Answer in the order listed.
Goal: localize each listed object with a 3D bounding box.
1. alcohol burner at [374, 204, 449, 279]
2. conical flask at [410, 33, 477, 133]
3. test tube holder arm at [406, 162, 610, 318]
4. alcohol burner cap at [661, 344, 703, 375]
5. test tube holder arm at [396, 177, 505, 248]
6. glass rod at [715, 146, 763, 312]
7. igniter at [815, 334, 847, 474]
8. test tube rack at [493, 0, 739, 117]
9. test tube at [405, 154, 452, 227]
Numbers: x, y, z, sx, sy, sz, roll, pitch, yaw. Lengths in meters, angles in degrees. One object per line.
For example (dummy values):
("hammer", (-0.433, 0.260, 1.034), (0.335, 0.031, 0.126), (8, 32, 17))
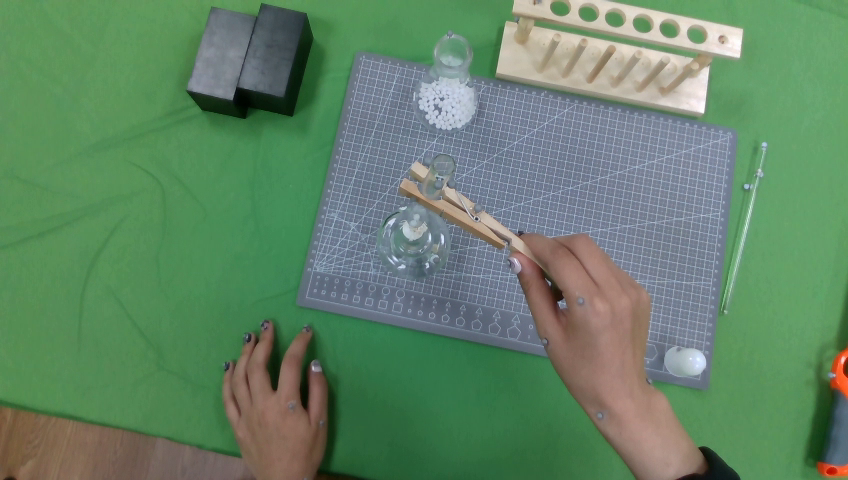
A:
("alcohol burner", (-0.013, -0.002, 0.608), (0.078, 0.119, 0.077), (0, 78, 0))
("conical flask", (0.024, -0.167, 0.634), (0.075, 0.122, 0.075), (0, 79, -2))
("test tube holder arm", (0.061, 0.001, 0.439), (0.178, 0.015, 0.013), (35, 80, 0))
("alcohol burner cap", (0.273, 0.124, 0.634), (0.034, 0.048, 0.033), (0, 79, -2))
("test tube holder arm", (0.020, -0.019, 0.438), (0.088, 0.015, 0.010), (28, 79, -1))
("glass rod", (0.355, -0.014, 0.682), (0.008, 0.008, 0.199), (18, 82, 1))
("igniter", (0.469, 0.118, 0.654), (0.057, 0.025, 0.275), (21, 80, -9))
("test tube rack", (0.206, -0.206, 0.671), (0.242, 0.085, 0.066), (11, 79, 0))
("test tube", (0.001, -0.032, 0.452), (0.017, 0.150, 0.017), (2, 78, -8))
